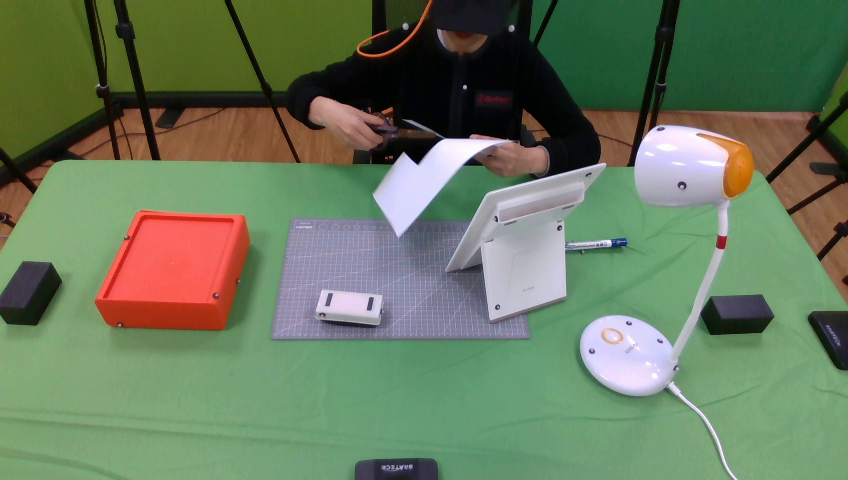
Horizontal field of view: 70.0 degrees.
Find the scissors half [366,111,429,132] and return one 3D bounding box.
[{"bbox_3d":[-0.055,-0.238,1.235,0.174,0.040,0.013,18,15,38],"label":"scissors half"}]

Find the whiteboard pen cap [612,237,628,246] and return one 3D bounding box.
[{"bbox_3d":[0.390,0.004,1.215,0.033,0.018,0.018,-7,47,-2],"label":"whiteboard pen cap"}]

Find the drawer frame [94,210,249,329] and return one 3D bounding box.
[{"bbox_3d":[-0.434,0.048,1.076,0.202,0.083,0.212,2,47,-3],"label":"drawer frame"}]

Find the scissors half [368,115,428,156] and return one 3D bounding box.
[{"bbox_3d":[-0.053,-0.214,1.236,0.013,0.175,0.040,-13,80,-49],"label":"scissors half"}]

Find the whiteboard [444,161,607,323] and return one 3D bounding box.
[{"bbox_3d":[0.186,0.025,1.029,0.217,0.306,0.143,-14,68,-18],"label":"whiteboard"}]

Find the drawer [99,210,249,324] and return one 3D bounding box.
[{"bbox_3d":[-0.435,0.044,1.081,0.194,0.073,0.210,3,47,-2],"label":"drawer"}]

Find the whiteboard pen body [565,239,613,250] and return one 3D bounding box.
[{"bbox_3d":[0.331,0.008,1.211,0.141,0.017,0.017,-5,47,-4],"label":"whiteboard pen body"}]

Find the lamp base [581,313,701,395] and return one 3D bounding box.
[{"bbox_3d":[0.361,0.144,0.972,0.178,0.181,0.160,34,53,23],"label":"lamp base"}]

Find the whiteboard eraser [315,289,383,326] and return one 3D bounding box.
[{"bbox_3d":[-0.130,0.119,1.054,0.113,0.042,0.055,6,47,1],"label":"whiteboard eraser"}]

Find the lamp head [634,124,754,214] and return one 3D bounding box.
[{"bbox_3d":[0.351,-0.089,0.775,0.112,0.113,0.122,-30,30,-28],"label":"lamp head"}]
